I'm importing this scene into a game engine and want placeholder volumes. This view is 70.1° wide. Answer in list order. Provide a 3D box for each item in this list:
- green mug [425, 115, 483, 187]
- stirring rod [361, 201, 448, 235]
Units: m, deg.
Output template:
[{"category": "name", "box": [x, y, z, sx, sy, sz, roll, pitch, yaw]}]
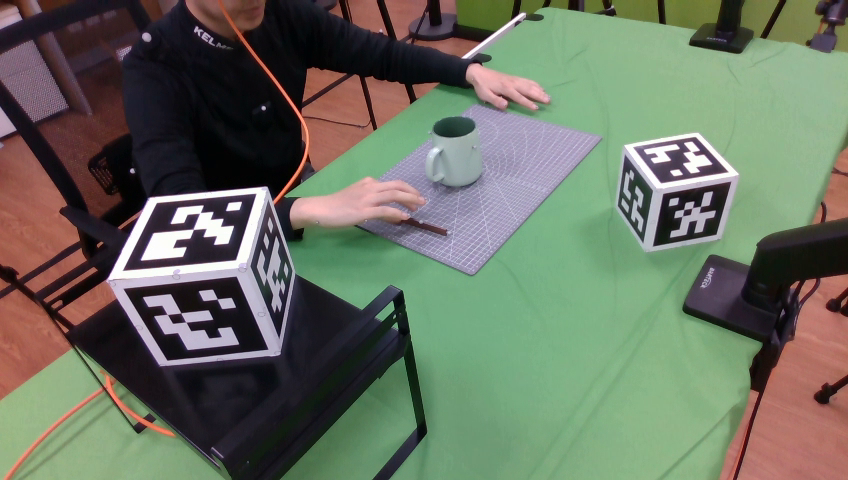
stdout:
[{"category": "green mug", "box": [0.047, -0.148, 1.068, 0.092, 0.105, 0.125, 24, 50, 31]}, {"category": "stirring rod", "box": [-0.035, -0.038, 1.019, 0.175, 0.014, 0.006, 19, 53, 27]}]
